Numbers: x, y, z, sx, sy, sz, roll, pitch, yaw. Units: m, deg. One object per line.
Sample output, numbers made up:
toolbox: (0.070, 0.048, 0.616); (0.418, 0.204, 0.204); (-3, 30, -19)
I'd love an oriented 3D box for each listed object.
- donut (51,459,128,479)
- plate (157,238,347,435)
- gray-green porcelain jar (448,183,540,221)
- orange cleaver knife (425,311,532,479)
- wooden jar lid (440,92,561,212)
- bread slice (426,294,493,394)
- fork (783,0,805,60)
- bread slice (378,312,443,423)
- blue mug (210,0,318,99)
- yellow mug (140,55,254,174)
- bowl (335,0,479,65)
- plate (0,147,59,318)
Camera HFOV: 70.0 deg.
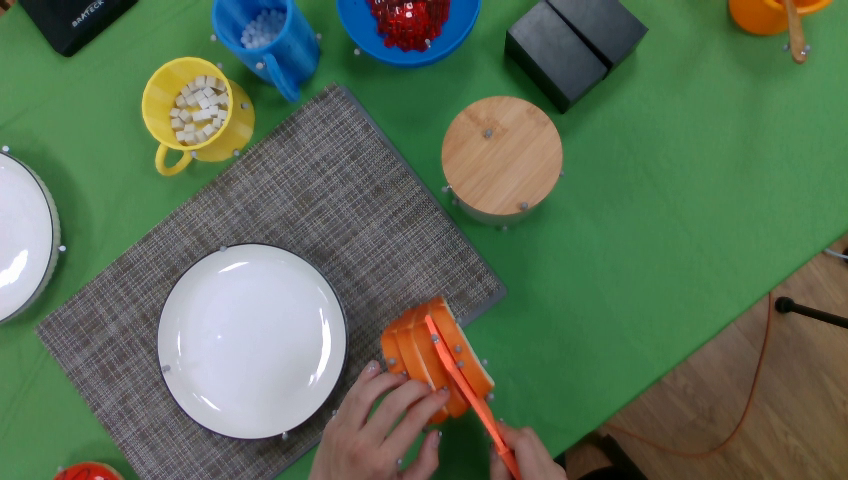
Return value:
donut: (-0.369, 0.290, 0.665); (0.099, 0.048, 0.099); (0, 86, 3)
plate: (-0.183, 0.103, 0.659); (0.209, 0.038, 0.208); (0, 87, 5)
gray-green porcelain jar: (0.074, -0.074, 0.608); (0.106, 0.127, 0.105); (0, 86, 4)
orange cleaver knife: (0.055, 0.157, 0.571); (0.012, 0.076, 0.213); (-29, 111, 4)
wooden jar lid: (0.068, -0.078, 0.546); (0.108, 0.021, 0.108); (0, 87, 2)
bread slice: (0.036, 0.102, 0.599); (0.019, 0.131, 0.105); (-31, 87, 0)
fork: (0.346, -0.226, 0.583); (0.028, 0.019, 0.206); (23, 45, -1)
bread slice: (-0.013, 0.124, 0.605); (0.018, 0.134, 0.106); (-26, 84, 4)
blue mug: (-0.161, -0.206, 0.643); (0.082, 0.106, 0.116); (-19, 86, 3)
yellow mug: (-0.255, -0.130, 0.665); (0.100, 0.064, 0.131); (30, 91, 6)
bowl: (-0.014, -0.252, 0.647); (0.151, 0.077, 0.151); (0, 88, 5)
plate: (-0.512, -0.007, 0.693); (0.207, 0.039, 0.207); (0, 88, 4)
